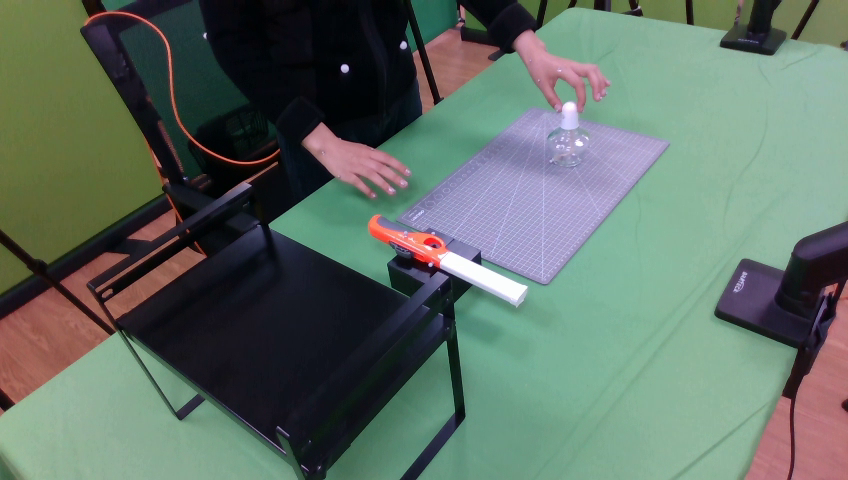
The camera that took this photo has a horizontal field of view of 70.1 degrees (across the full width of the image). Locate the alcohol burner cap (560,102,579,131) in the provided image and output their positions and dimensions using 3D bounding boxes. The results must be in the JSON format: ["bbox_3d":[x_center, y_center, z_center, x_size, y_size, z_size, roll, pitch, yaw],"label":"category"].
[{"bbox_3d":[0.256,-0.220,1.063,0.034,0.048,0.033,-6,32,4],"label":"alcohol burner cap"}]

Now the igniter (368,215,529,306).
[{"bbox_3d":[0.024,0.024,0.868,0.274,0.025,0.057,25,49,28],"label":"igniter"}]

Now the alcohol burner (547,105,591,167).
[{"bbox_3d":[0.261,-0.192,1.086,0.078,0.119,0.077,-5,43,5],"label":"alcohol burner"}]
